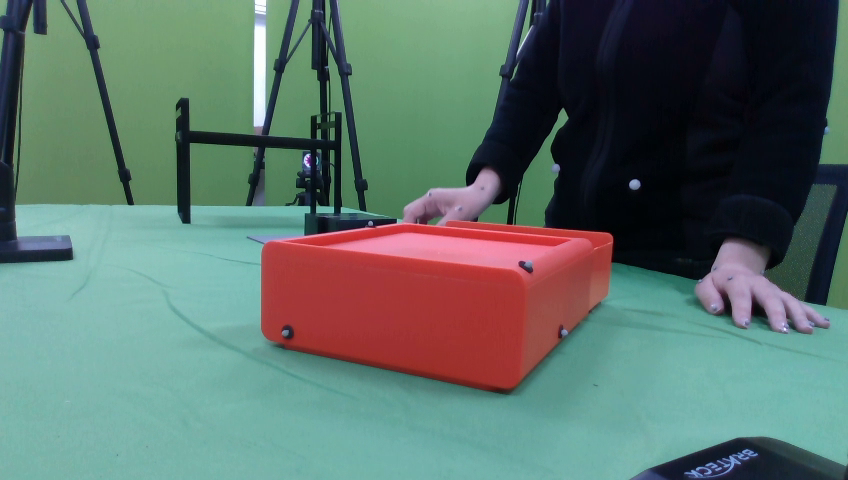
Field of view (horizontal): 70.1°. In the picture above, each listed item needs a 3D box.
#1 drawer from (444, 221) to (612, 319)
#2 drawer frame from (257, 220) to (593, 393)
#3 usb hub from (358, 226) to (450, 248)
[{"bbox_3d":[0.061,0.030,0.583,0.194,0.073,0.212,7,9,27],"label":"drawer"},{"bbox_3d":[0.014,0.036,0.491,0.201,0.082,0.214,6,9,24],"label":"drawer frame"},{"bbox_3d":[-0.027,-0.005,0.846,0.126,0.025,0.049,-3,4,-38],"label":"usb hub"}]
